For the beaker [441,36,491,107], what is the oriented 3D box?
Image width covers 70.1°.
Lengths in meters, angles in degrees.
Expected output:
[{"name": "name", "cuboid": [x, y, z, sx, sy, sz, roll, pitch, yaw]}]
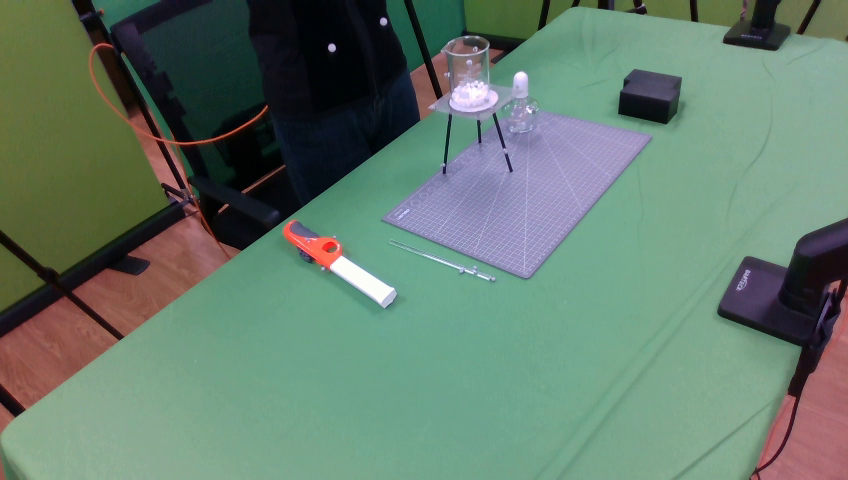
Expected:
[{"name": "beaker", "cuboid": [0.074, -0.287, 1.036, 0.084, 0.101, 0.073, -1, 41, 8]}]

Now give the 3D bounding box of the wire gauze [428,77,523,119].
[{"name": "wire gauze", "cuboid": [0.090, -0.249, 1.063, 0.120, 0.011, 0.125, 24, 48, 30]}]

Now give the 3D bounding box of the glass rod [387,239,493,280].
[{"name": "glass rod", "cuboid": [0.021, 0.028, 0.953, 0.198, 0.008, 0.008, 19, 48, 29]}]

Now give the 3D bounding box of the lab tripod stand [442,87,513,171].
[{"name": "lab tripod stand", "cuboid": [0.097, -0.200, 1.108, 0.148, 0.132, 0.147, -4, 40, 4]}]

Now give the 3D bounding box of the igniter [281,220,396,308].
[{"name": "igniter", "cuboid": [-0.146, 0.032, 0.966, 0.274, 0.025, 0.057, 30, 64, 37]}]

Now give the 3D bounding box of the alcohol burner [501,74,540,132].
[{"name": "alcohol burner", "cuboid": [0.191, -0.275, 1.194, 0.078, 0.119, 0.077, -4, 42, 4]}]

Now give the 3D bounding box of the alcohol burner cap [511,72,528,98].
[{"name": "alcohol burner cap", "cuboid": [0.185, -0.302, 1.171, 0.034, 0.048, 0.033, -2, 42, 2]}]
